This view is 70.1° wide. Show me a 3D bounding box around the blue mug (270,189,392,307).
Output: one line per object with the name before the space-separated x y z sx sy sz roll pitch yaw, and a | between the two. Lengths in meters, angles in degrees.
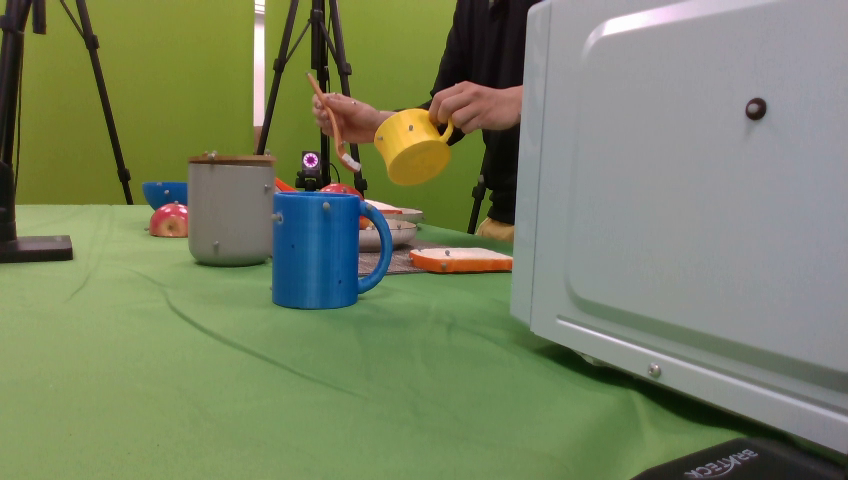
blue mug | -0.090 0.005 0.588 0.117 0.106 0.082 1 7 -11

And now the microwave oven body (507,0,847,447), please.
microwave oven body | 0.331 -0.042 0.425 0.444 0.260 0.324 -2 8 -31

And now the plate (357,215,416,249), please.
plate | -0.116 -0.014 0.967 0.208 0.039 0.207 2 7 0

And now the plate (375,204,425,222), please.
plate | -0.102 -0.053 1.299 0.209 0.038 0.209 2 8 0

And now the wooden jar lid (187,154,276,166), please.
wooden jar lid | -0.244 -0.097 0.771 0.108 0.020 0.108 -1 7 0

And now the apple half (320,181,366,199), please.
apple half | -0.129 -0.077 0.952 0.081 0.033 0.081 2 14 0

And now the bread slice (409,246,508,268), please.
bread slice | 0.048 0.022 0.816 0.132 0.019 0.104 0 6 -24

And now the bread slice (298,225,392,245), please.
bread slice | -0.120 -0.010 0.969 0.106 0.018 0.135 5 10 41

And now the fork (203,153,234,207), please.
fork | -0.480 -0.134 1.411 0.028 0.018 0.207 1 -35 0

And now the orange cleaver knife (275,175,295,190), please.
orange cleaver knife | -0.283 -0.087 1.343 0.212 0.077 0.012 24 -16 -41

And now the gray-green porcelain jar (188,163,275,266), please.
gray-green porcelain jar | -0.246 -0.034 0.779 0.106 0.126 0.106 1 7 0

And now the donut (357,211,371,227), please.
donut | -0.132 -0.042 0.959 0.099 0.048 0.099 3 8 0

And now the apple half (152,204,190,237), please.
apple half | -0.415 -0.034 1.017 0.081 0.053 0.074 1 10 -9

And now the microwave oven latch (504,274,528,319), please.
microwave oven latch | 0.100 0.041 0.471 0.079 0.029 0.030 -1 7 -27

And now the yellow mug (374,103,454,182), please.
yellow mug | -0.007 -0.152 0.893 0.130 0.064 0.100 -38 -30 25

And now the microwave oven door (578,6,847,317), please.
microwave oven door | 0.294 -0.067 0.570 0.358 0.243 0.039 -3 9 -31

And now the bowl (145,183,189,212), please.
bowl | -0.459 -0.069 1.175 0.151 0.077 0.151 2 7 0

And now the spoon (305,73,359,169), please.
spoon | -0.152 -0.196 0.989 0.021 0.193 0.042 -28 -15 18
